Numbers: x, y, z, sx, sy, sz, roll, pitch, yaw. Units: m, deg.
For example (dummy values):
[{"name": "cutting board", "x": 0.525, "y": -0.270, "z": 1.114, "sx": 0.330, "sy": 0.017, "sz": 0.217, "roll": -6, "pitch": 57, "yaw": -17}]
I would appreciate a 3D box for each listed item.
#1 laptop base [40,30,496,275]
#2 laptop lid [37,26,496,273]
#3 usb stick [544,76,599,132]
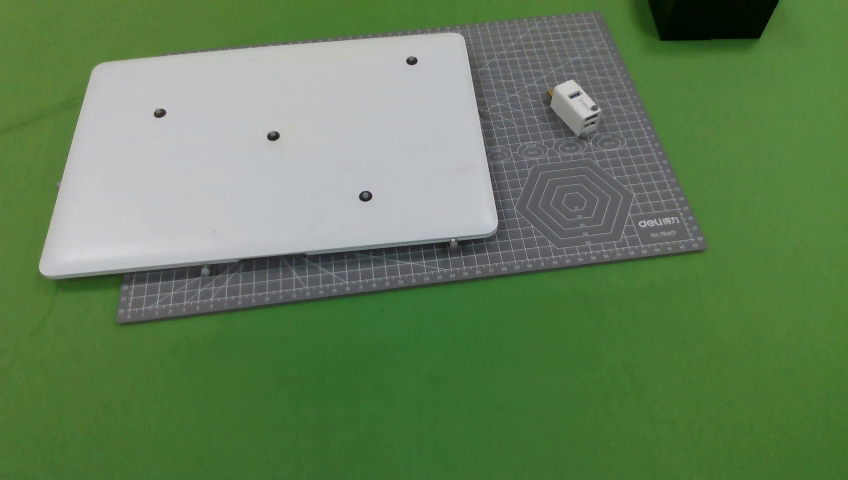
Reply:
[{"name": "laptop base", "x": -0.128, "y": -0.085, "z": 0.527, "sx": 0.354, "sy": 0.023, "sz": 0.233, "roll": -6, "pitch": 61, "yaw": -2}, {"name": "laptop lid", "x": -0.128, "y": -0.090, "z": 0.516, "sx": 0.357, "sy": 0.013, "sz": 0.239, "roll": -4, "pitch": 59, "yaw": -1}, {"name": "usb stick", "x": 0.129, "y": -0.126, "z": 0.540, "sx": 0.021, "sy": 0.027, "sz": 0.058, "roll": -25, "pitch": 58, "yaw": -13}]
